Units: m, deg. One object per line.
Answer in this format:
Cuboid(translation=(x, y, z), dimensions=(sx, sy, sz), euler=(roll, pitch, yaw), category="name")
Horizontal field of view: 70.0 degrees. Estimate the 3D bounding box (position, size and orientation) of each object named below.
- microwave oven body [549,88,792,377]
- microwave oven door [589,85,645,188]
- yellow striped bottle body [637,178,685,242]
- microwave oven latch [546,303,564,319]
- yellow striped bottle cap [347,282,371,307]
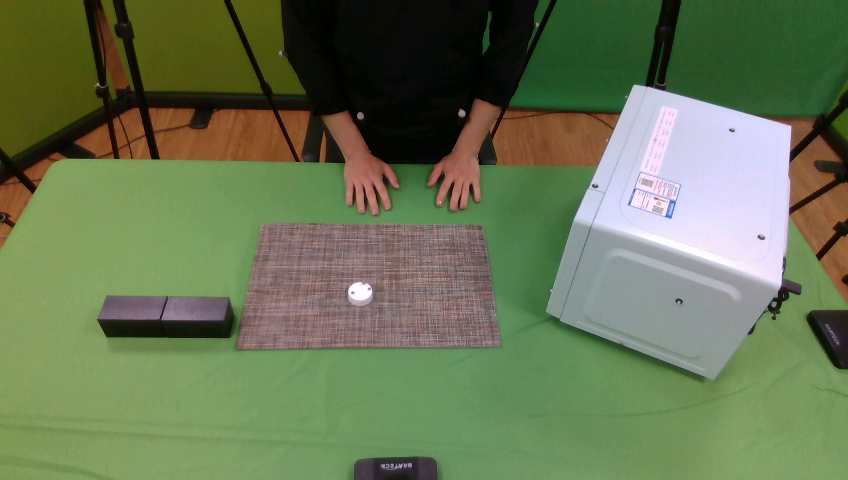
Cuboid(translation=(0.456, -0.028, 1.088), dimensions=(0.325, 0.261, 0.440), euler=(20, 47, 16), category="microwave oven body")
Cuboid(translation=(0.341, -0.107, 1.149), dimensions=(0.039, 0.245, 0.354), euler=(20, 48, 15), category="microwave oven door")
Cuboid(translation=(0.442, -0.058, 1.126), dimensions=(0.063, 0.121, 0.062), euler=(0, 47, 0), category="yellow striped bottle body")
Cuboid(translation=(0.242, 0.102, 1.081), dimensions=(0.030, 0.029, 0.079), euler=(21, 48, 17), category="microwave oven latch")
Cuboid(translation=(-0.117, 0.098, 1.093), dimensions=(0.044, 0.019, 0.044), euler=(3, 46, -3), category="yellow striped bottle cap")
